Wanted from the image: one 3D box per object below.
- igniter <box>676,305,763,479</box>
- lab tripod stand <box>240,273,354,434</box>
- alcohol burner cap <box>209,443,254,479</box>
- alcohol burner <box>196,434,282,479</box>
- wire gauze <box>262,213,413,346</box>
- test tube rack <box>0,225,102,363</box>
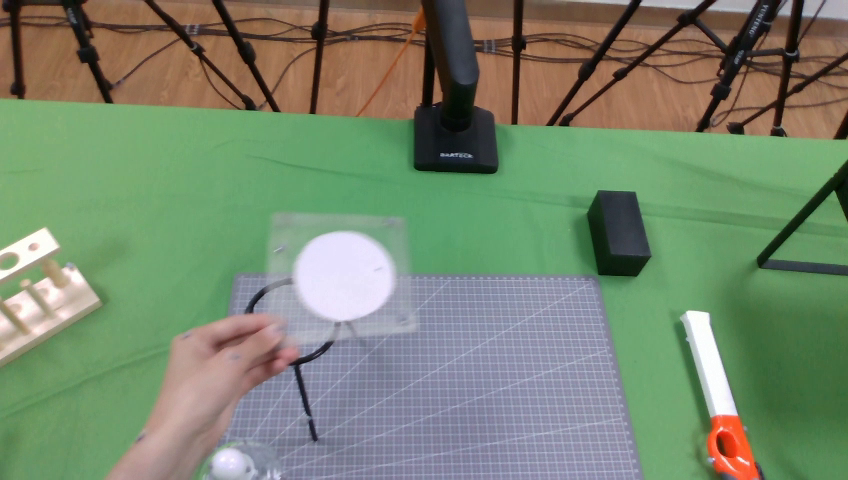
[{"bbox_3d":[0.326,0.198,0.664,0.057,0.025,0.274,7,56,-13],"label":"igniter"},{"bbox_3d":[-0.127,0.108,0.614,0.148,0.132,0.147,4,57,-5],"label":"lab tripod stand"},{"bbox_3d":[-0.167,0.192,0.522,0.034,0.048,0.033,2,62,-3],"label":"alcohol burner cap"},{"bbox_3d":[-0.171,0.211,0.553,0.078,0.120,0.077,4,55,-5],"label":"alcohol burner"},{"bbox_3d":[-0.076,0.028,0.517,0.122,0.011,0.124,-1,59,-14],"label":"wire gauze"},{"bbox_3d":[-0.478,0.091,0.623,0.242,0.086,0.066,-36,66,-25],"label":"test tube rack"}]
